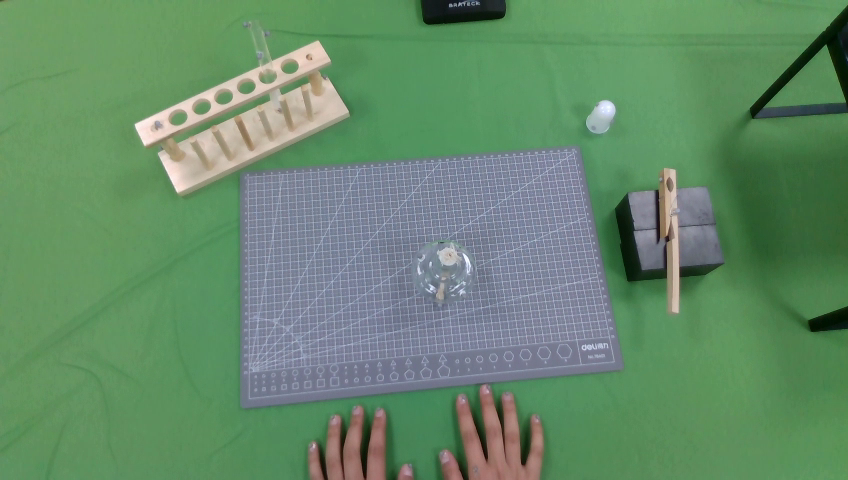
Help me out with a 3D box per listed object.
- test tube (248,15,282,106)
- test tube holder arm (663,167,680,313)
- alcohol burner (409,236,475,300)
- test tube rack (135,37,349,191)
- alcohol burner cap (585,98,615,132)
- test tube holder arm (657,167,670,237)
[{"bbox_3d":[-0.189,-0.211,0.733,0.017,0.151,0.017,1,66,-2],"label":"test tube"},{"bbox_3d":[0.292,-0.002,0.718,0.013,0.015,0.177,2,73,0],"label":"test tube holder arm"},{"bbox_3d":[0.022,0.028,0.697,0.078,0.119,0.077,1,73,-3],"label":"alcohol burner"},{"bbox_3d":[-0.222,-0.158,0.766,0.242,0.085,0.066,-28,74,-10],"label":"test tube rack"},{"bbox_3d":[0.237,-0.169,0.808,0.034,0.048,0.033,0,71,0],"label":"alcohol burner cap"},{"bbox_3d":[0.289,-0.046,0.731,0.010,0.015,0.087,4,73,1],"label":"test tube holder arm"}]
